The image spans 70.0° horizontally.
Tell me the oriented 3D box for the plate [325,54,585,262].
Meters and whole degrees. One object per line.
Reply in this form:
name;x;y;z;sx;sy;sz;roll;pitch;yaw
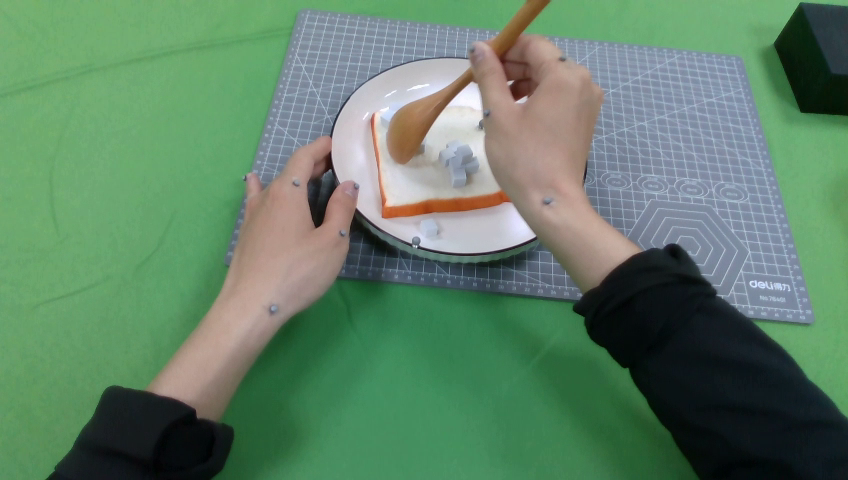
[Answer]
plate;0.024;-0.068;0.497;0.209;0.038;0.207;2;58;-3

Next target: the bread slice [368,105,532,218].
bread slice;0.022;-0.071;0.502;0.132;0.019;0.104;-7;59;-8

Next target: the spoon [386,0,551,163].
spoon;0.029;-0.118;0.424;0.022;0.194;0.041;6;56;-46
